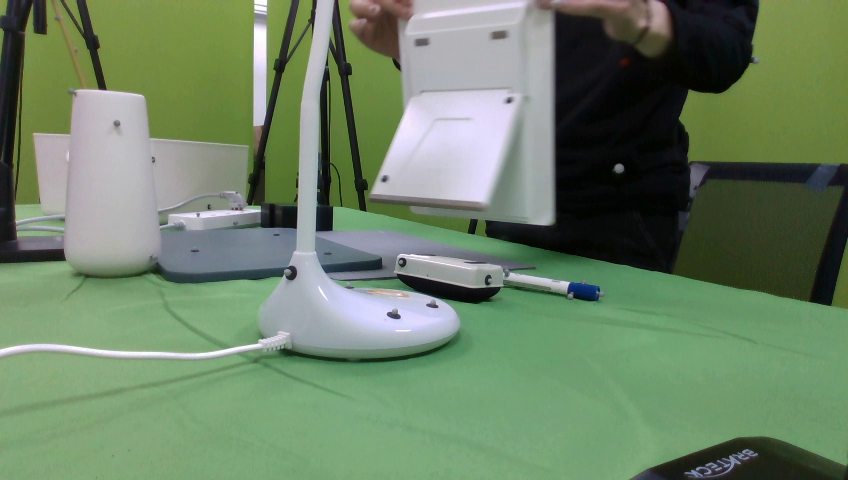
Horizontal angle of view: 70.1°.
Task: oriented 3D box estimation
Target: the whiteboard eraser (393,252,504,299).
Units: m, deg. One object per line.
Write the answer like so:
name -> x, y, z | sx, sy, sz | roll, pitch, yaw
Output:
whiteboard eraser -> 0.024, 0.036, 0.637 | 0.112, 0.042, 0.056 | 8, 8, 42

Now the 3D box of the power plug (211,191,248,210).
power plug -> -0.384, -0.071, 1.206 | 0.072, 0.052, 0.035 | 1, 7, 27

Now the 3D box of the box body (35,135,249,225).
box body -> -0.561, -0.127, 1.258 | 0.254, 0.160, 0.365 | 4, 8, 13

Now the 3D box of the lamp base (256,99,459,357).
lamp base -> -0.055, -0.013, 0.463 | 0.160, 0.180, 0.180 | 6, 11, 27

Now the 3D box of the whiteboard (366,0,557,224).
whiteboard -> 0.026, -0.158, 0.716 | 0.216, 0.305, 0.144 | 7, 19, 34

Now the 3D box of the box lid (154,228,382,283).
box lid -> -0.250, 0.014, 0.853 | 0.265, 0.015, 0.369 | -3, 9, -32

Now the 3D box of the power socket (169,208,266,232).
power socket -> -0.379, -0.038, 1.129 | 0.072, 0.032, 0.227 | 4, 8, 18

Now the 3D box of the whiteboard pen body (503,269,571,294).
whiteboard pen body -> 0.123, 0.046, 0.680 | 0.140, 0.017, 0.017 | 8, 9, 30

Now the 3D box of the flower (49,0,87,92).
flower -> -0.361, -0.142, 0.659 | 0.038, 0.361, 0.044 | -13, 11, 11

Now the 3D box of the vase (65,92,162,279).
vase -> -0.347, -0.060, 0.673 | 0.098, 0.200, 0.098 | 1, 7, 0

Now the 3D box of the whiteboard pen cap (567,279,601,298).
whiteboard pen cap -> 0.171, 0.052, 0.648 | 0.033, 0.018, 0.018 | 10, 10, 31
